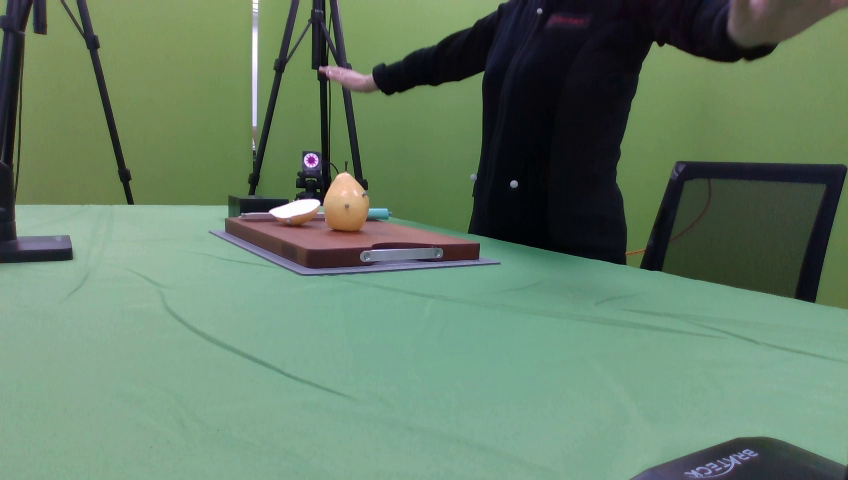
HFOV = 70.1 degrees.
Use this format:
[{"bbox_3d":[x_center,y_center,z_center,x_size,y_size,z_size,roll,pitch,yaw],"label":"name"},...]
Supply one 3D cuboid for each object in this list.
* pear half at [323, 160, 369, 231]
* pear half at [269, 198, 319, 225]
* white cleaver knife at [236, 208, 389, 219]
[{"bbox_3d":[-0.113,-0.068,0.938,0.056,0.110,0.076,6,12,27],"label":"pear half"},{"bbox_3d":[-0.212,-0.042,0.995,0.088,0.031,0.070,-9,19,20],"label":"pear half"},{"bbox_3d":[-0.194,-0.049,1.103,0.288,0.021,0.065,-1,-2,-32],"label":"white cleaver knife"}]
